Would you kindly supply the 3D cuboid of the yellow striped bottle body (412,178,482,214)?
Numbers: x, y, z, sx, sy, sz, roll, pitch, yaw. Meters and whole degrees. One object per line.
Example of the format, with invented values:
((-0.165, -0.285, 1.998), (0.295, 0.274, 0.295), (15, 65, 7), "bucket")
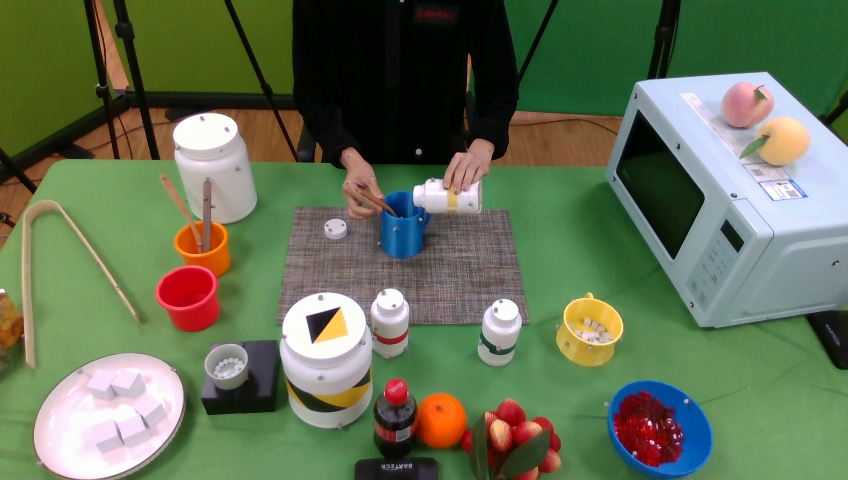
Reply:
((0.041, -0.079, 1.089), (0.120, 0.063, 0.062), (1, 45, 13), "yellow striped bottle body")

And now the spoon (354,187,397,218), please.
((-0.068, -0.054, 1.121), (0.021, 0.195, 0.041), (-38, 50, 9), "spoon")

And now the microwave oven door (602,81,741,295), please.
((0.456, -0.107, 1.162), (0.039, 0.245, 0.353), (-6, 47, -11), "microwave oven door")

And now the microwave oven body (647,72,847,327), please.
((0.607, -0.089, 1.164), (0.326, 0.261, 0.438), (-7, 46, -10), "microwave oven body")

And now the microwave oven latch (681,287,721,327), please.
((0.494, 0.119, 1.087), (0.030, 0.029, 0.078), (-6, 46, -9), "microwave oven latch")

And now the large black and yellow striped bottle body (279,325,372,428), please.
((-0.143, 0.181, 0.900), (0.131, 0.185, 0.130), (2, 46, -2), "large black and yellow striped bottle body")

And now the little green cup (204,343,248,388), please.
((-0.294, 0.190, 0.909), (0.061, 0.039, 0.061), (1, 48, -1), "little green cup")

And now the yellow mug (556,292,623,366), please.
((0.285, 0.145, 1.051), (0.100, 0.064, 0.130), (7, 45, 3), "yellow mug")

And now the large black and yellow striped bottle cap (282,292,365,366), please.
((-0.138, 0.121, 0.841), (0.115, 0.019, 0.114), (3, 47, -3), "large black and yellow striped bottle cap")

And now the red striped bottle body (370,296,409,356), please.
((-0.058, 0.134, 0.997), (0.063, 0.120, 0.062), (4, 47, -4), "red striped bottle body")

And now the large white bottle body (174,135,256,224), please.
((-0.408, -0.137, 1.183), (0.131, 0.185, 0.130), (2, 46, -2), "large white bottle body")

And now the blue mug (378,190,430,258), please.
((-0.032, -0.037, 1.168), (0.116, 0.106, 0.082), (-30, 55, -28), "blue mug")

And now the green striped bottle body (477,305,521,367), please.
((0.124, 0.151, 0.995), (0.063, 0.120, 0.063), (2, 46, -2), "green striped bottle body")

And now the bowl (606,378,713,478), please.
((0.340, 0.292, 0.906), (0.151, 0.077, 0.150), (2, 46, -2), "bowl")

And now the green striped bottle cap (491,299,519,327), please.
((0.128, 0.115, 0.957), (0.044, 0.020, 0.044), (0, 46, 0), "green striped bottle cap")

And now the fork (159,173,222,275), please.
((-0.427, -0.029, 1.103), (0.028, 0.018, 0.207), (-31, 99, -30), "fork")

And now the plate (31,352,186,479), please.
((-0.459, 0.262, 0.898), (0.209, 0.038, 0.208), (2, 46, -2), "plate")

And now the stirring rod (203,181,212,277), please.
((-0.396, -0.021, 1.108), (0.014, 0.006, 0.176), (-1, 89, -1), "stirring rod")

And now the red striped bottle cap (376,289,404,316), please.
((-0.054, 0.098, 0.958), (0.044, 0.018, 0.044), (0, 48, 1), "red striped bottle cap")

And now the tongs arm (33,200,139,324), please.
((-0.622, 0.034, 1.105), (0.051, 0.026, 0.382), (-32, 55, -26), "tongs arm")

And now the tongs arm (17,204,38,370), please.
((-0.698, 0.069, 1.068), (0.028, 0.028, 0.385), (-20, 50, -13), "tongs arm")

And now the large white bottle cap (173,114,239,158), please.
((-0.403, -0.195, 1.122), (0.115, 0.018, 0.114), (2, 47, -2), "large white bottle cap")

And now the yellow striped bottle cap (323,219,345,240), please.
((-0.179, -0.022, 1.205), (0.044, 0.019, 0.044), (3, 46, -3), "yellow striped bottle cap")
